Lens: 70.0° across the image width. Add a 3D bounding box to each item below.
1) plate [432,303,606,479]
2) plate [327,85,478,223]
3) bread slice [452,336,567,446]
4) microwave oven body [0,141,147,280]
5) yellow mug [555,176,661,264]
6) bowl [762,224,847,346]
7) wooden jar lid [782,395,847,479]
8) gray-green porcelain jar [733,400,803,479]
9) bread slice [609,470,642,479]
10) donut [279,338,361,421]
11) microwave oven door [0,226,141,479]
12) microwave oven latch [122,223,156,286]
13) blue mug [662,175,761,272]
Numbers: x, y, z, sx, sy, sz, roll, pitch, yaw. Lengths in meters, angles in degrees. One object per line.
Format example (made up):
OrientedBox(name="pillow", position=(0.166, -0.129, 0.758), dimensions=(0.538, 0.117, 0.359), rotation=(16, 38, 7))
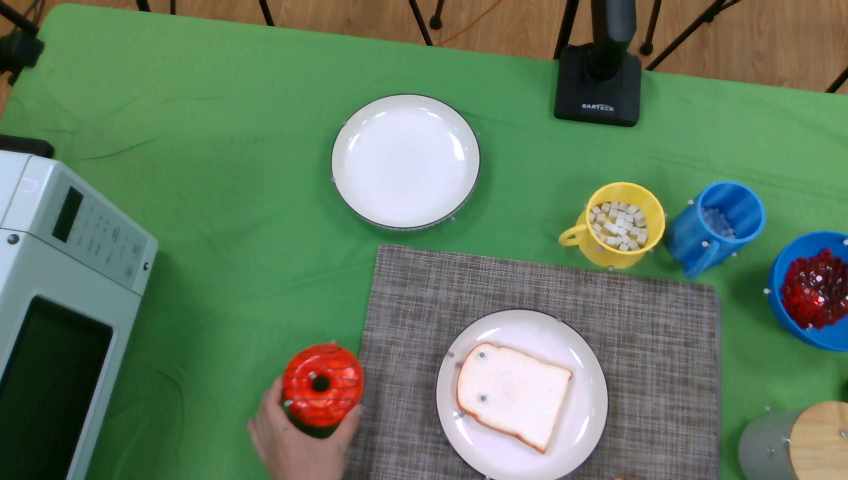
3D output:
OrientedBox(name="plate", position=(0.114, 0.181, 0.739), dimensions=(0.209, 0.038, 0.207), rotation=(0, 71, 1))
OrientedBox(name="plate", position=(-0.029, -0.117, 0.845), dimensions=(0.208, 0.039, 0.206), rotation=(0, 71, 1))
OrientedBox(name="bread slice", position=(0.101, 0.179, 0.744), dimensions=(0.131, 0.019, 0.104), rotation=(22, 72, 3))
OrientedBox(name="microwave oven body", position=(-0.549, 0.129, 0.645), dimensions=(0.326, 0.261, 0.439), rotation=(9, 72, 3))
OrientedBox(name="yellow mug", position=(0.236, -0.022, 0.795), dimensions=(0.131, 0.064, 0.099), rotation=(-13, 71, -2))
OrientedBox(name="bowl", position=(0.489, 0.064, 0.758), dimensions=(0.151, 0.077, 0.150), rotation=(0, 72, 1))
OrientedBox(name="wooden jar lid", position=(0.416, 0.213, 0.617), dimensions=(0.108, 0.021, 0.107), rotation=(0, 73, -1))
OrientedBox(name="gray-green porcelain jar", position=(0.418, 0.235, 0.676), dimensions=(0.106, 0.127, 0.105), rotation=(0, 71, 1))
OrientedBox(name="bread slice", position=(0.224, 0.306, 0.650), dimensions=(0.018, 0.135, 0.106), rotation=(16, 70, -2))
OrientedBox(name="donut", position=(-0.124, 0.167, 0.726), dimensions=(0.099, 0.048, 0.098), rotation=(0, 69, 1))
OrientedBox(name="microwave oven door", position=(-0.412, 0.188, 0.619), dimensions=(0.039, 0.245, 0.353), rotation=(8, 71, 4))
OrientedBox(name="microwave oven latch", position=(-0.373, 0.017, 0.783), dimensions=(0.030, 0.029, 0.078), rotation=(11, 73, 4))
OrientedBox(name="blue mug", position=(0.355, -0.011, 0.770), dimensions=(0.082, 0.106, 0.116), rotation=(27, 74, 10))
